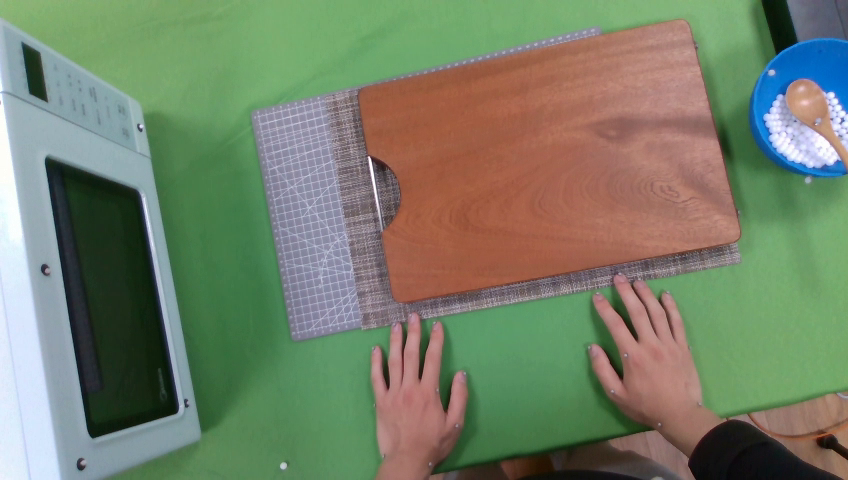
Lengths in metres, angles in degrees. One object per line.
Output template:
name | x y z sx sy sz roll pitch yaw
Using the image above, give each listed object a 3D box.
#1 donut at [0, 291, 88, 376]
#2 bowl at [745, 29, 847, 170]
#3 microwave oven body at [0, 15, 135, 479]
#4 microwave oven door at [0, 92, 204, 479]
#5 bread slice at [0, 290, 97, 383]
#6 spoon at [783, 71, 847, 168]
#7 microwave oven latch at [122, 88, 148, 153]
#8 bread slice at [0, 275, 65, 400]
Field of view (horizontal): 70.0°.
donut | -0.430 0.104 0.677 0.099 0.048 0.099 -2 101 -8
bowl | 0.423 -0.144 0.668 0.151 0.077 0.151 -1 85 7
microwave oven body | -0.484 0.049 0.653 0.326 0.261 0.440 -14 83 4
microwave oven door | -0.333 0.053 0.631 0.039 0.244 0.354 -15 83 5
bread slice | -0.458 0.118 0.711 0.132 0.019 0.105 -6 92 -6
spoon | 0.431 -0.100 0.633 0.041 0.022 0.192 -13 60 2
microwave oven latch | -0.370 -0.147 0.757 0.030 0.029 0.079 -14 84 4
bread slice | -0.439 0.114 0.628 0.134 0.018 0.106 -31 85 16
